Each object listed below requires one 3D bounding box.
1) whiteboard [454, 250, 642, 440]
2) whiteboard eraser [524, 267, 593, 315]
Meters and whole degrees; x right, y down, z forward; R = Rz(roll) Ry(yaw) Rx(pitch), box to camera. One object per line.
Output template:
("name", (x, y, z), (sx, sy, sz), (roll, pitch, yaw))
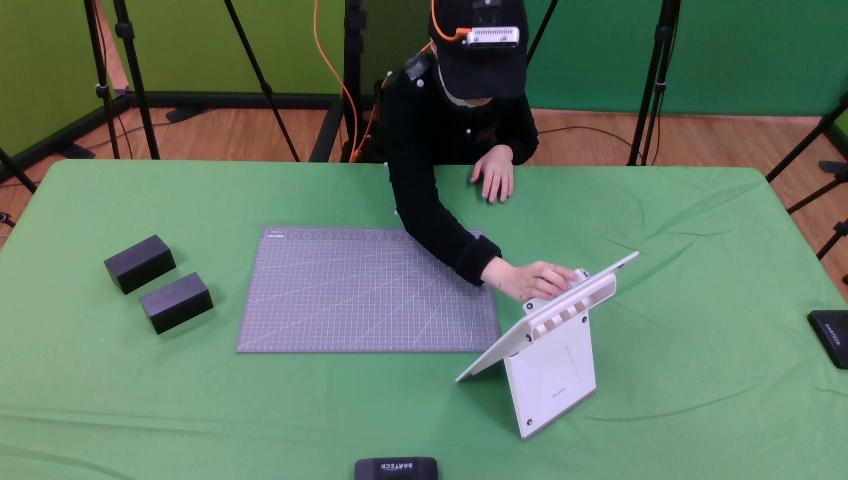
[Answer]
("whiteboard", (0.206, 0.175, 0.889), (0.217, 0.306, 0.143), (-24, 72, -25))
("whiteboard eraser", (0.216, 0.088, 0.965), (0.041, 0.113, 0.056), (57, 20, 10))
